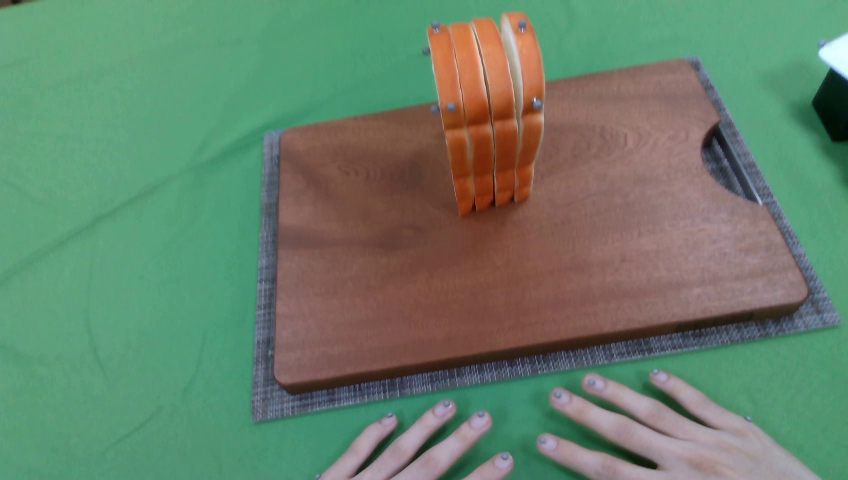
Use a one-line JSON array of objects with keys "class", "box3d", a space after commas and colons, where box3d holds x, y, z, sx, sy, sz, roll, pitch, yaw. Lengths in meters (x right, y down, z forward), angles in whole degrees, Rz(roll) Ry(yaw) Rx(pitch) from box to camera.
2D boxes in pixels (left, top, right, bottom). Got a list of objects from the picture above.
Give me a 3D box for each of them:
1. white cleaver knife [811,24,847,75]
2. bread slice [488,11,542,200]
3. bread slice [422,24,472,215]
[{"class": "white cleaver knife", "box3d": [0.417, -0.082, 0.462, 0.066, 0.022, 0.283, -23, 59, -6]}, {"class": "bread slice", "box3d": [0.072, -0.111, 0.485, 0.019, 0.132, 0.104, -8, 57, -3]}, {"class": "bread slice", "box3d": [0.019, -0.103, 0.487, 0.018, 0.135, 0.106, -11, 54, 2]}]
